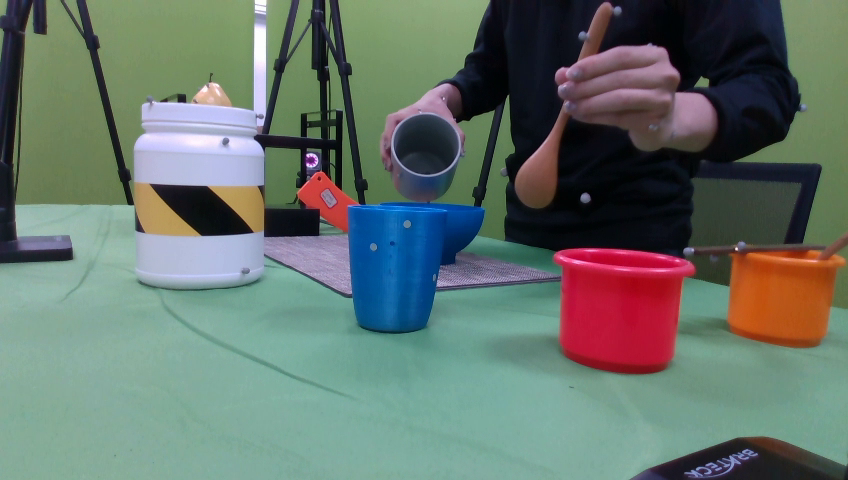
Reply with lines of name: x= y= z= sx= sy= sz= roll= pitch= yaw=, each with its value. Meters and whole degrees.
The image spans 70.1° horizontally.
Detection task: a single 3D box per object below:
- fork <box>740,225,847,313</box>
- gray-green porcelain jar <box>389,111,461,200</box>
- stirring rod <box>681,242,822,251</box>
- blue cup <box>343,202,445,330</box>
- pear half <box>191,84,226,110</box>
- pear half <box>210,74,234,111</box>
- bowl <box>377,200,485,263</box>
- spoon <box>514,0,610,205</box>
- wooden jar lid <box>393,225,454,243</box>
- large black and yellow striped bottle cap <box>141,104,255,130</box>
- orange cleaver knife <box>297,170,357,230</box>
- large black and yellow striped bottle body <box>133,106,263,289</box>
fork: x=0.323 y=0.013 z=0.485 sx=0.028 sy=0.018 sz=0.207 roll=9 pitch=-37 yaw=-5
gray-green porcelain jar: x=-0.002 y=-0.125 z=0.945 sx=0.106 sy=0.105 sz=0.126 roll=2 pitch=-17 yaw=-4
stirring rod: x=0.289 y=0.005 z=0.525 sx=0.177 sy=0.006 sz=0.014 roll=-1 pitch=5 yaw=-26
blue cup: x=-0.027 y=0.021 z=0.510 sx=0.093 sy=0.100 sz=0.092 roll=3 pitch=5 yaw=0
pear half: x=-0.406 y=-0.248 z=1.128 sx=0.070 sy=0.088 sz=0.031 roll=5 pitch=7 yaw=2
pear half: x=-0.402 y=-0.262 z=1.162 sx=0.076 sy=0.109 sz=0.056 roll=6 pitch=7 yaw=2
bowl: x=0.008 y=-0.012 z=0.841 sx=0.151 sy=0.077 sz=0.151 roll=2 pitch=7 yaw=0
spoon: x=0.123 y=-0.116 z=0.539 sx=0.041 sy=0.193 sz=0.022 roll=28 pitch=29 yaw=22
wooden jar lid: x=-0.001 y=-0.011 z=1.058 sx=0.108 sy=0.020 sz=0.108 roll=8 pitch=5 yaw=0
large black and yellow striped bottle cap: x=-0.241 y=-0.131 z=0.650 sx=0.115 sy=0.019 sz=0.115 roll=3 pitch=8 yaw=0
orange cleaver knife: x=-0.149 y=-0.058 z=1.170 sx=0.212 sy=0.077 sz=0.012 roll=32 pitch=-14 yaw=-32
large black and yellow striped bottle body: x=-0.243 y=-0.048 z=0.659 sx=0.131 sy=0.184 sz=0.130 roll=2 pitch=7 yaw=0
